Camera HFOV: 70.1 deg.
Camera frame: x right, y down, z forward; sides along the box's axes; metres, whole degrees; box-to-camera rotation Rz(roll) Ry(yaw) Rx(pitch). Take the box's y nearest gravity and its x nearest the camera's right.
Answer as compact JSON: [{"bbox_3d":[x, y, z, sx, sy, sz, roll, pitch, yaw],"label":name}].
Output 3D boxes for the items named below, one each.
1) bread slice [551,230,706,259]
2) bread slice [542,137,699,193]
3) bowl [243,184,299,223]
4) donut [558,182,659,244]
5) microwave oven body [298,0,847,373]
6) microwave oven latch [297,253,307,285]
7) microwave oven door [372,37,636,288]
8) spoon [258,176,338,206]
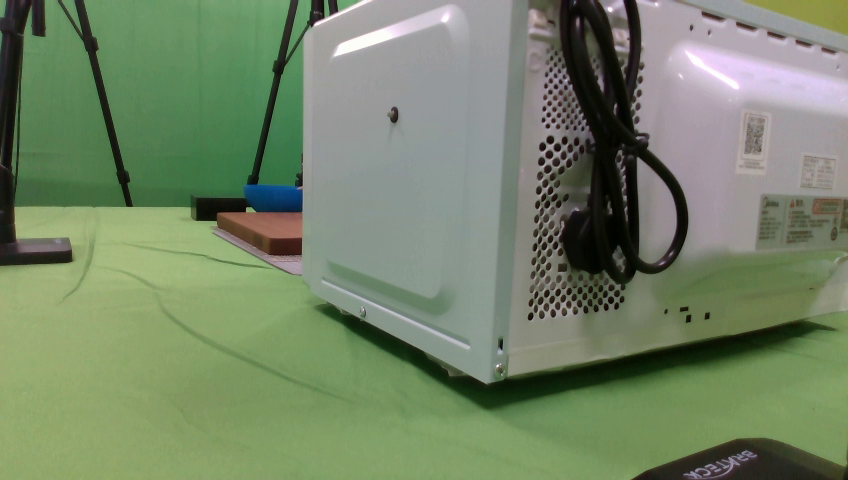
[{"bbox_3d":[0.203,0.004,0.585,0.105,0.019,0.131,6,-3,-21],"label":"bread slice"},{"bbox_3d":[0.199,-0.074,0.599,0.107,0.018,0.133,-1,22,-44],"label":"bread slice"},{"bbox_3d":[-0.321,-0.081,1.334,0.151,0.077,0.151,3,8,0],"label":"bowl"},{"bbox_3d":[0.184,-0.028,0.608,0.099,0.048,0.099,12,-11,3],"label":"donut"},{"bbox_3d":[0.151,-0.055,0.543,0.444,0.260,0.324,-1,7,-33],"label":"microwave oven body"},{"bbox_3d":[-0.082,0.027,0.582,0.079,0.029,0.030,-2,7,-33],"label":"microwave oven latch"},{"bbox_3d":[0.110,-0.080,0.686,0.358,0.243,0.039,-2,9,-33],"label":"microwave oven door"},{"bbox_3d":[-0.279,-0.112,1.356,0.194,0.021,0.041,-28,19,-27],"label":"spoon"}]
